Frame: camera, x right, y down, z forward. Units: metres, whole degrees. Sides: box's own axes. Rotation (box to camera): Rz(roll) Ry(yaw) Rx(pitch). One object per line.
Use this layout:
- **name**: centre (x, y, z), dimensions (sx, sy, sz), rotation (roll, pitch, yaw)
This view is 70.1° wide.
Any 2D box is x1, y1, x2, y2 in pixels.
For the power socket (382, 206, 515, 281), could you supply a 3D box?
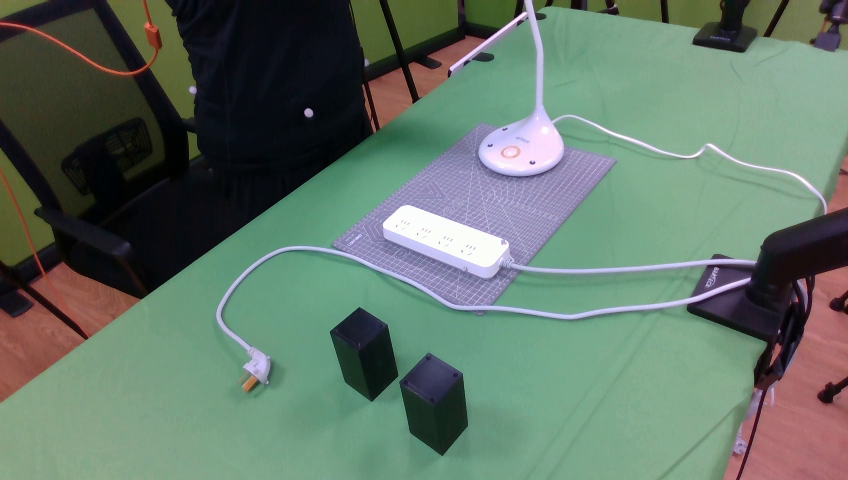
- **power socket**: centre (0.032, 0.002, 0.950), dimensions (0.225, 0.033, 0.072), rotation (21, 49, 29)

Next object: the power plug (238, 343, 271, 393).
- **power plug**: centre (-0.230, 0.172, 0.801), dimensions (0.072, 0.035, 0.053), rotation (8, 50, 50)

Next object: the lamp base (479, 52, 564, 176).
- **lamp base**: centre (0.181, -0.235, 1.093), dimensions (0.159, 0.181, 0.179), rotation (18, 44, 27)
